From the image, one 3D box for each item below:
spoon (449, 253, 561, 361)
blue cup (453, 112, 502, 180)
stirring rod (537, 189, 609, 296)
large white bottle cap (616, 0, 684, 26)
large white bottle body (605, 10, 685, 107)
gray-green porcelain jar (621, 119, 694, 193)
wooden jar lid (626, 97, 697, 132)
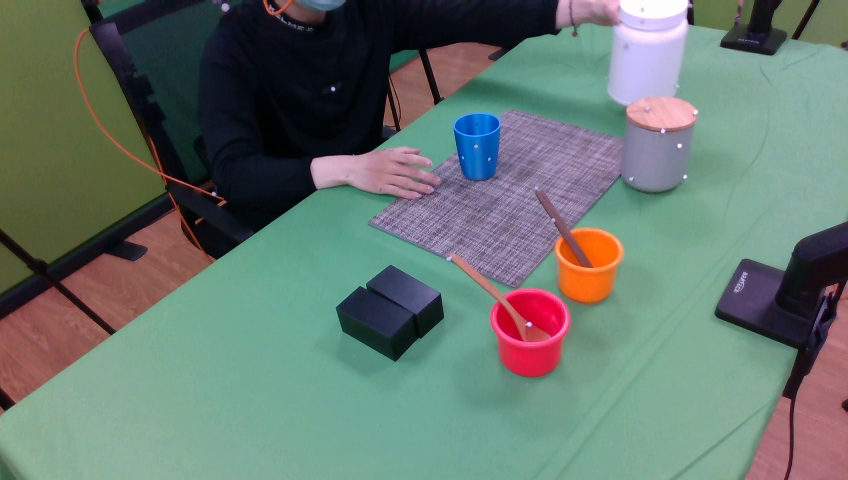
[{"bbox_3d":[0.103,0.083,0.770,0.194,0.021,0.042,47,51,-7],"label":"spoon"},{"bbox_3d":[0.097,-0.166,1.088,0.092,0.100,0.092,-3,40,3],"label":"blue cup"},{"bbox_3d":[0.211,0.003,0.855,0.014,0.006,0.176,-32,88,-30],"label":"stirring rod"},{"bbox_3d":[0.402,-0.416,1.075,0.115,0.018,0.114,-5,46,5],"label":"large white bottle cap"},{"bbox_3d":[0.413,-0.358,1.135,0.130,0.185,0.130,-5,46,6],"label":"large white bottle body"},{"bbox_3d":[0.389,-0.152,1.016,0.106,0.127,0.105,-4,40,4],"label":"gray-green porcelain jar"},{"bbox_3d":[0.381,-0.198,0.976,0.108,0.021,0.108,-3,40,3],"label":"wooden jar lid"}]
